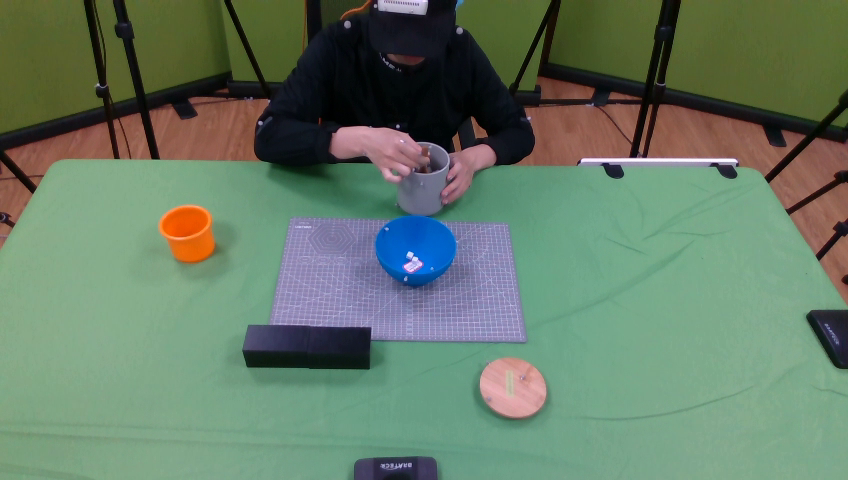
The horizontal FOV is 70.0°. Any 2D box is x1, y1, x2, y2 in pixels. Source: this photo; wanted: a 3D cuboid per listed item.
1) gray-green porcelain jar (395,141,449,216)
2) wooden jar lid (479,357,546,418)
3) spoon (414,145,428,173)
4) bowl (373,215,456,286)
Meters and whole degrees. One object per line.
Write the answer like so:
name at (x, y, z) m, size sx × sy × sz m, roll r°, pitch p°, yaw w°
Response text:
gray-green porcelain jar at (-0.007, -0.120, 1.241) m, size 0.106 × 0.127 × 0.105 m, roll 2°, pitch 46°, yaw -2°
wooden jar lid at (0.142, 0.240, 0.979) m, size 0.108 × 0.021 × 0.107 m, roll 1°, pitch 46°, yaw -1°
spoon at (-0.004, -0.152, 1.192) m, size 0.041 × 0.194 × 0.021 m, roll 14°, pitch 75°, yaw 2°
bowl at (-0.019, 0.032, 1.122) m, size 0.151 × 0.077 × 0.150 m, roll 2°, pitch 46°, yaw -2°
